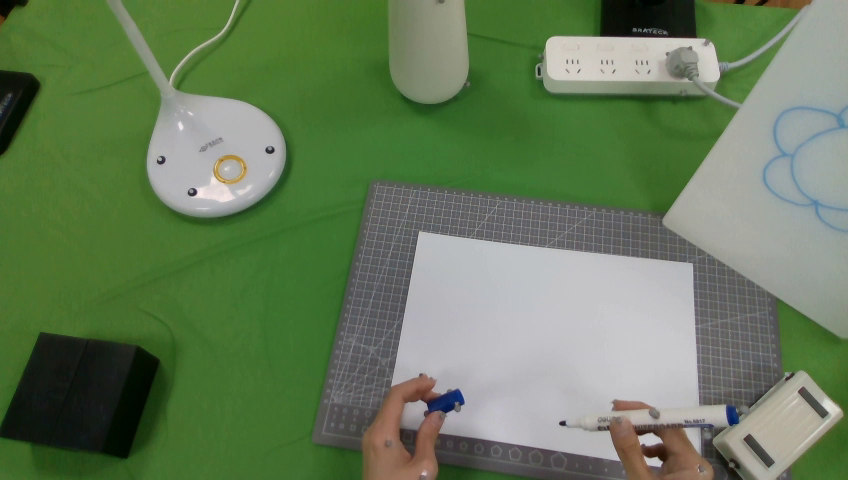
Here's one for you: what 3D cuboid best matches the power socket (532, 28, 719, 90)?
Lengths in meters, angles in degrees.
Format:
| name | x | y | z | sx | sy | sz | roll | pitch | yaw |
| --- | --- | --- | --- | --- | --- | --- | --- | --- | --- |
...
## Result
| name | x | y | z | sx | sy | sz | roll | pitch | yaw |
| --- | --- | --- | --- | --- | --- | --- | --- | --- | --- |
| power socket | 0.250 | -0.225 | 0.752 | 0.227 | 0.033 | 0.071 | 2 | 66 | 2 |

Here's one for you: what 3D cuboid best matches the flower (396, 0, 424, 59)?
| name | x | y | z | sx | sy | sz | roll | pitch | yaw |
| --- | --- | --- | --- | --- | --- | --- | --- | --- | --- |
| flower | 0.015 | -0.280 | 0.601 | 0.044 | 0.362 | 0.038 | -33 | 85 | -22 |

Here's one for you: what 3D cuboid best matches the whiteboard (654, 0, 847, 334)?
| name | x | y | z | sx | sy | sz | roll | pitch | yaw |
| --- | --- | --- | --- | --- | --- | --- | --- | --- | --- |
| whiteboard | 0.411 | -0.097 | 0.574 | 0.216 | 0.307 | 0.143 | 37 | 50 | 17 |

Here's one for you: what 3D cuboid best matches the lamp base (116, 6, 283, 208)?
| name | x | y | z | sx | sy | sz | roll | pitch | yaw |
| --- | --- | --- | --- | --- | --- | --- | --- | --- | --- |
| lamp base | -0.259 | -0.149 | 0.648 | 0.178 | 0.182 | 0.160 | 39 | 71 | 20 |

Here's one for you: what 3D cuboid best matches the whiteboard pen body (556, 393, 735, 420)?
| name | x | y | z | sx | sy | sz | roll | pitch | yaw |
| --- | --- | --- | --- | --- | --- | --- | --- | --- | --- |
| whiteboard pen body | 0.166 | 0.131 | 0.473 | 0.140 | 0.017 | 0.017 | -15 | 58 | 36 |

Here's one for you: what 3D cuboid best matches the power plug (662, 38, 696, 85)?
| name | x | y | z | sx | sy | sz | roll | pitch | yaw |
| --- | --- | --- | --- | --- | --- | --- | --- | --- | --- |
| power plug | 0.299 | -0.205 | 0.718 | 0.035 | 0.053 | 0.072 | 12 | 72 | 7 |

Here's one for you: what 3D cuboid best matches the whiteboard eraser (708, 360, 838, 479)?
| name | x | y | z | sx | sy | sz | roll | pitch | yaw |
| --- | --- | --- | --- | --- | --- | --- | --- | --- | --- |
| whiteboard eraser | 0.322 | 0.166 | 0.564 | 0.112 | 0.042 | 0.055 | -34 | 68 | -13 |

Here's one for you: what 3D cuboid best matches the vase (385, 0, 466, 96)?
| name | x | y | z | sx | sy | sz | roll | pitch | yaw |
| --- | --- | --- | --- | --- | --- | --- | --- | --- | --- |
| vase | -0.001 | -0.255 | 0.680 | 0.098 | 0.201 | 0.097 | -1 | 64 | 2 |

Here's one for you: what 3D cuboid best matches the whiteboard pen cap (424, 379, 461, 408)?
| name | x | y | z | sx | sy | sz | roll | pitch | yaw |
| --- | --- | --- | --- | --- | --- | --- | --- | --- | --- |
| whiteboard pen cap | 0.018 | 0.138 | 0.544 | 0.033 | 0.018 | 0.018 | -20 | 65 | 5 |
